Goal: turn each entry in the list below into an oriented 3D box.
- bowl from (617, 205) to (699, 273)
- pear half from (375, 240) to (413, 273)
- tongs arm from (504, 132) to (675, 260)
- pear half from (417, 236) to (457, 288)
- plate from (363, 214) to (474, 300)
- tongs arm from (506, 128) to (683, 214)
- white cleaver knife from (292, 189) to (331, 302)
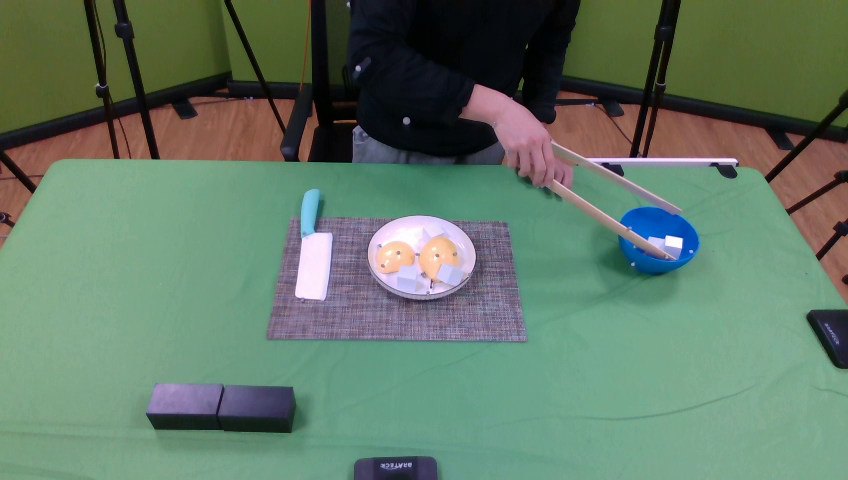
[{"bbox_3d":[0.444,0.011,1.182,0.151,0.077,0.150,2,46,-2],"label":"bowl"},{"bbox_3d":[-0.059,0.026,1.145,0.070,0.031,0.088,22,43,21],"label":"pear half"},{"bbox_3d":[0.302,-0.071,1.087,0.386,0.026,0.050,29,65,-15],"label":"tongs arm"},{"bbox_3d":[0.022,0.039,1.127,0.076,0.056,0.109,5,50,7],"label":"pear half"},{"bbox_3d":[-0.010,0.036,1.146,0.208,0.039,0.206,3,46,-2],"label":"plate"},{"bbox_3d":[0.322,-0.123,1.113,0.389,0.028,0.028,22,70,-18],"label":"tongs arm"},{"bbox_3d":[-0.215,0.006,1.178,0.066,0.021,0.284,5,49,-12],"label":"white cleaver knife"}]
